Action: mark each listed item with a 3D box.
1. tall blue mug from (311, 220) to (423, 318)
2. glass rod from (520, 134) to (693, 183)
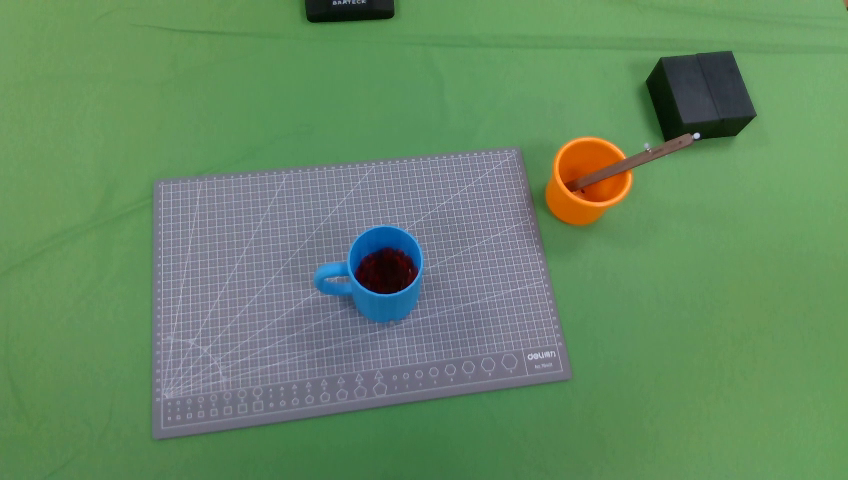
[{"bbox_3d":[-0.056,0.041,0.643,0.107,0.108,0.077,-29,75,-14],"label":"tall blue mug"},{"bbox_3d":[0.204,-0.092,0.700,0.199,0.008,0.008,-14,66,27],"label":"glass rod"}]
